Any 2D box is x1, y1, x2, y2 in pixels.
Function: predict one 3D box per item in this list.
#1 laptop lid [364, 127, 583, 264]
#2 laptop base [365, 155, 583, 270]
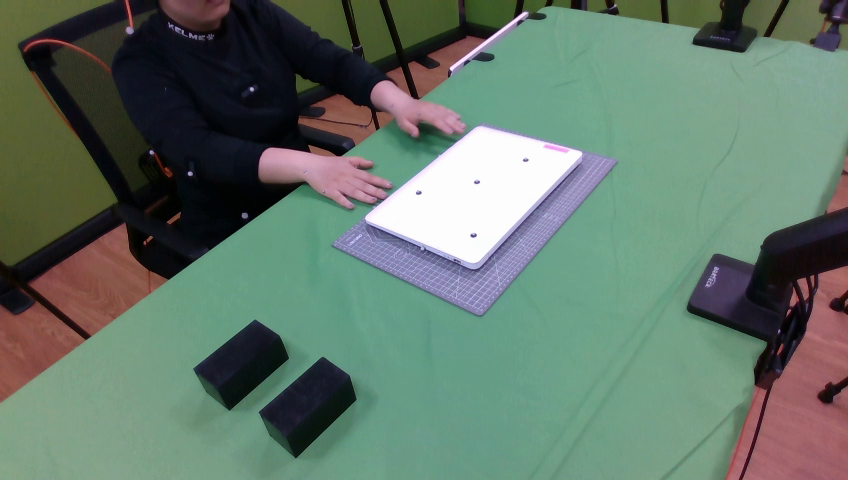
[{"bbox_3d":[0.092,-0.096,1.053,0.239,0.013,0.358,23,48,34],"label":"laptop lid"},{"bbox_3d":[0.096,-0.086,1.059,0.233,0.023,0.355,20,47,33],"label":"laptop base"}]
